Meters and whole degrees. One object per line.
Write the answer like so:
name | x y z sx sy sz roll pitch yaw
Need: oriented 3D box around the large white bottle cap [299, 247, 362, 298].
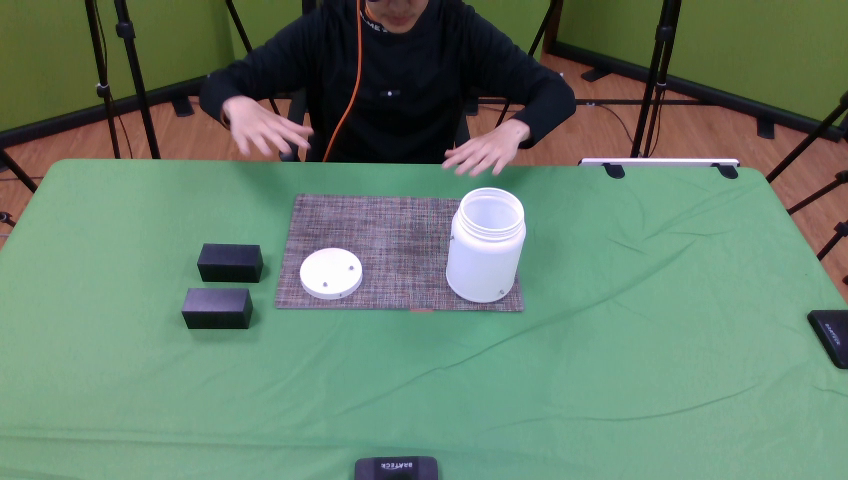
large white bottle cap | -0.173 0.059 1.124 0.115 0.018 0.114 2 46 -2

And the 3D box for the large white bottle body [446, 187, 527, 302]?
large white bottle body | 0.110 0.007 1.079 0.131 0.185 0.130 2 47 -2
